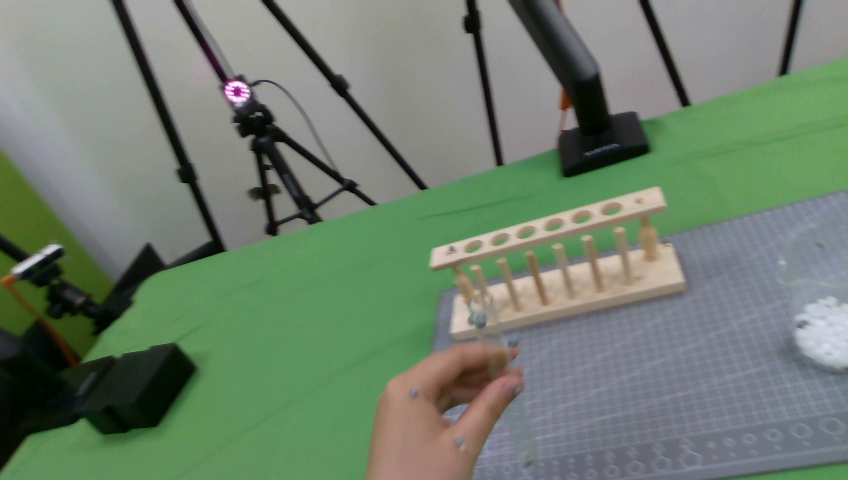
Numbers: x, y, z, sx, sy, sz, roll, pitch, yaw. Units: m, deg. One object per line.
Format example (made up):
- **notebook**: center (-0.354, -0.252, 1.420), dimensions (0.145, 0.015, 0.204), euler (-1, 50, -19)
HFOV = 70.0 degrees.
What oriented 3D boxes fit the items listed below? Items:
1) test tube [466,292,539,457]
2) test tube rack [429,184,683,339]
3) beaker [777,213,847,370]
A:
- **test tube**: center (0.053, 0.091, 0.386), dimensions (0.017, 0.152, 0.017), euler (-14, 35, 10)
- **test tube rack**: center (0.131, 0.027, 0.633), dimensions (0.242, 0.086, 0.066), euler (-16, 33, 18)
- **beaker**: center (0.311, 0.043, 0.456), dimensions (0.084, 0.101, 0.073), euler (-26, 30, 3)
